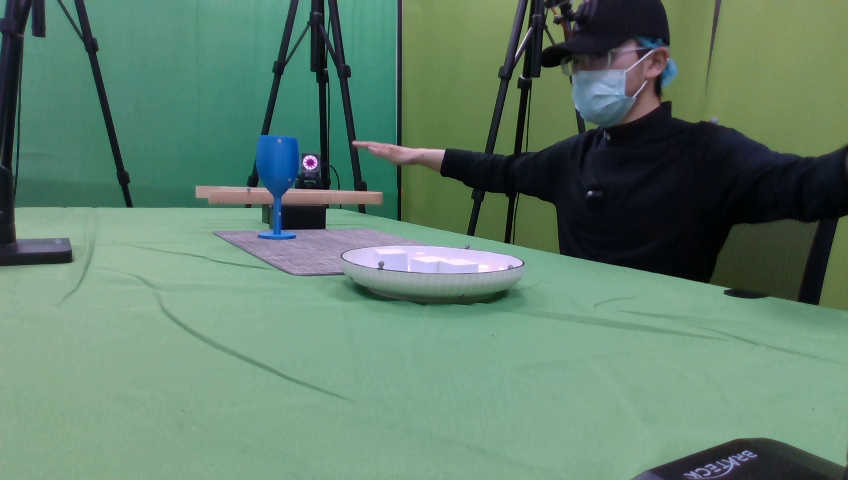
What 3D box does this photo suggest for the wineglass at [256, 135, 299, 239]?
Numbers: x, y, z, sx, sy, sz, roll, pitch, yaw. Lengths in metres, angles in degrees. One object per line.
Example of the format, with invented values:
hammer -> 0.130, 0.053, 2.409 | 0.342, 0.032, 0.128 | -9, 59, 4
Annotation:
wineglass -> -0.252, -0.091, 1.035 | 0.074, 0.172, 0.073 | 2, 7, 0

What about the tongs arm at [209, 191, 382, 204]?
tongs arm -> -0.248, -0.088, 1.242 | 0.387, 0.026, 0.050 | -2, 7, -34

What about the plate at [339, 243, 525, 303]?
plate -> 0.008, 0.035, 0.682 | 0.209, 0.038, 0.209 | 3, 7, 0

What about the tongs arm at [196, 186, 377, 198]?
tongs arm -> -0.288, -0.098, 1.312 | 0.389, 0.028, 0.028 | 0, 2, -21
